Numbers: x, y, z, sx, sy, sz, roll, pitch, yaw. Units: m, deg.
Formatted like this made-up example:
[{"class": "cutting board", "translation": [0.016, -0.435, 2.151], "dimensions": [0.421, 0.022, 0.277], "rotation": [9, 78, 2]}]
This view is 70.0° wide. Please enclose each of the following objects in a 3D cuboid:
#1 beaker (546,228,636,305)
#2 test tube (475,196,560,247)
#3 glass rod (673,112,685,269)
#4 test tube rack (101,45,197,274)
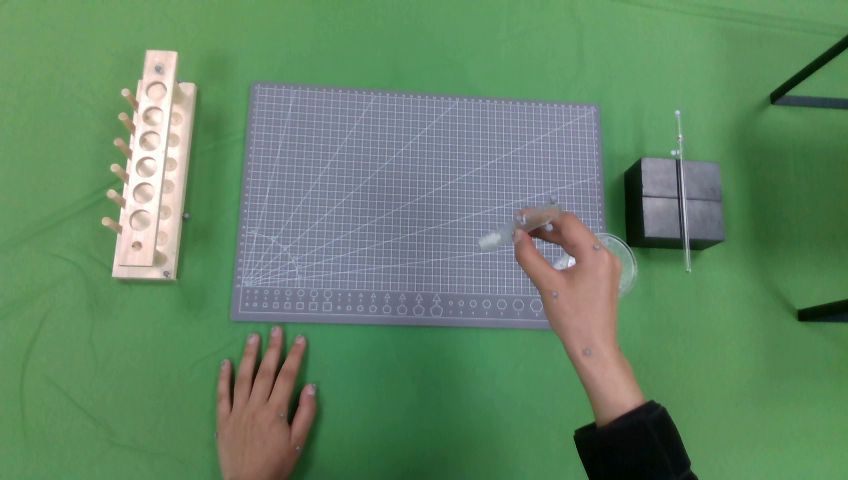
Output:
[{"class": "beaker", "translation": [0.184, 0.035, 0.696], "dimensions": [0.084, 0.100, 0.073], "rotation": [4, 76, -4]}, {"class": "test tube", "translation": [0.079, -0.013, 0.550], "dimensions": [0.017, 0.150, 0.017], "rotation": [4, 78, -17]}, {"class": "glass rod", "translation": [0.309, -0.062, 0.734], "dimensions": [0.008, 0.008, 0.198], "rotation": [4, 77, -5]}, {"class": "test tube rack", "translation": [-0.311, -0.088, 0.678], "dimensions": [0.067, 0.085, 0.241], "rotation": [2, 77, -6]}]
